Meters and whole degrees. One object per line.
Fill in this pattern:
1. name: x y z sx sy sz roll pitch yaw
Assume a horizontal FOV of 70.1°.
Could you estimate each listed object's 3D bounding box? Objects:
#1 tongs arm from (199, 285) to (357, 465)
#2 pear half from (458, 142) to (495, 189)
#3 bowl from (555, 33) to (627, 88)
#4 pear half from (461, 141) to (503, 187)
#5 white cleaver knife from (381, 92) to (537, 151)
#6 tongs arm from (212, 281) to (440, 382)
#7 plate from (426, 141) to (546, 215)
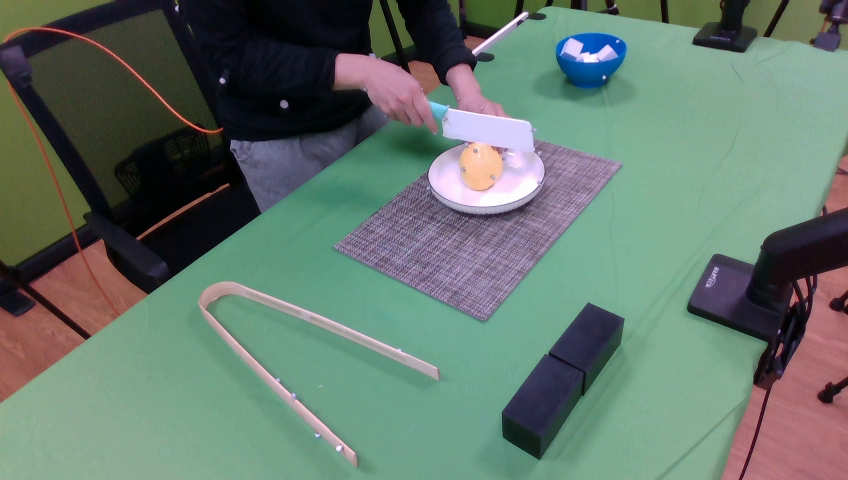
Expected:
1. tongs arm: -0.199 0.162 0.797 0.381 0.026 0.051 28 50 35
2. pear half: 0.084 -0.121 1.024 0.070 0.088 0.031 17 46 22
3. bowl: 0.360 -0.384 1.317 0.151 0.077 0.150 -4 41 4
4. pear half: 0.102 -0.149 1.040 0.076 0.110 0.056 19 46 21
5. white cleaver knife: 0.051 -0.194 0.999 0.284 0.066 0.021 18 49 25
6. tongs arm: -0.148 0.121 0.846 0.385 0.028 0.028 17 48 25
7. plate: 0.109 -0.107 1.059 0.207 0.039 0.206 -4 41 4
